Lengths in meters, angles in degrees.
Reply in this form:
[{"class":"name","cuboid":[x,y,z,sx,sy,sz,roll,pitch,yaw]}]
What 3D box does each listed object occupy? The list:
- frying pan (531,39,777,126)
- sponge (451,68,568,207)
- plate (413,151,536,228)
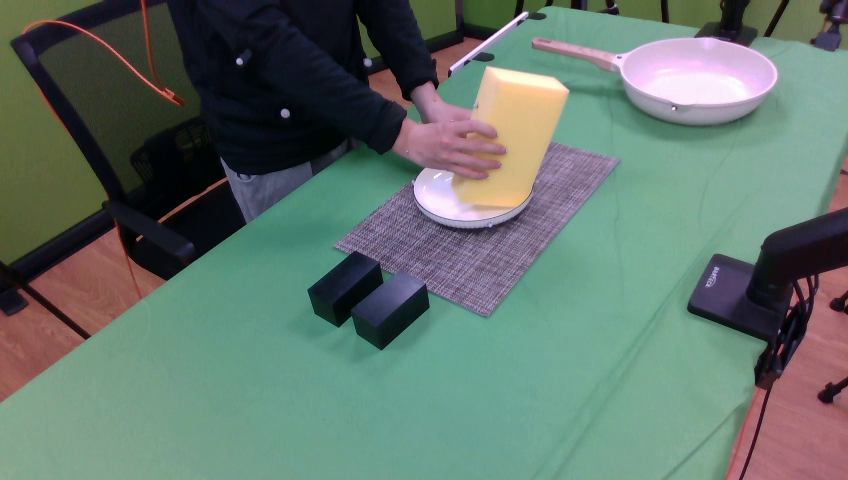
[{"class":"frying pan","cuboid":[0.452,-0.354,1.254,0.485,0.103,0.307,22,47,19]},{"class":"sponge","cuboid":[0.129,-0.155,0.953,0.119,0.207,0.060,4,34,-20]},{"class":"plate","cuboid":[0.086,-0.085,1.038,0.207,0.039,0.206,-4,41,4]}]
